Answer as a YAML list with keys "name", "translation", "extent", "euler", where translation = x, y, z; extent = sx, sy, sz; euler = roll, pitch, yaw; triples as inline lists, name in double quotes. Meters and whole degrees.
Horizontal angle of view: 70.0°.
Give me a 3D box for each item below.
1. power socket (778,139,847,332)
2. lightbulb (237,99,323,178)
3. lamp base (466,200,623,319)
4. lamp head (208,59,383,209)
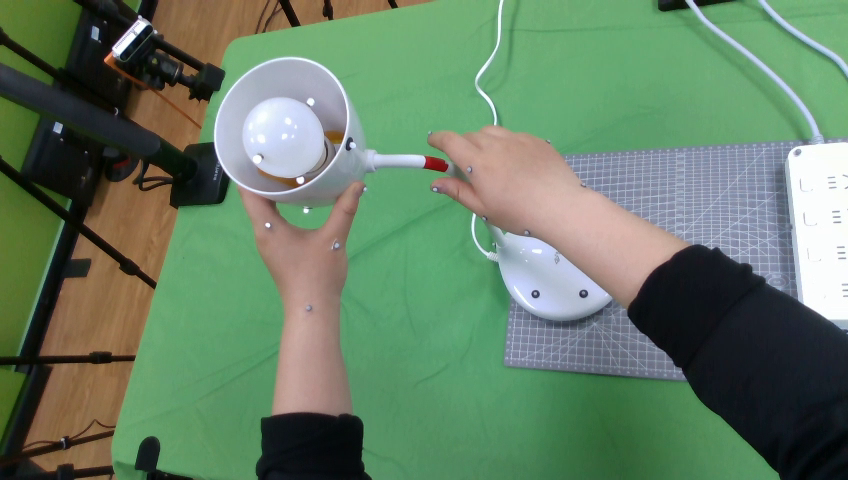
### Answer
- name: "power socket"
  translation: [0.442, -0.012, 0.670]
  extent: [0.072, 0.033, 0.225]
  euler: [-2, 68, 21]
- name: "lightbulb"
  translation: [-0.108, -0.075, 0.488]
  extent: [0.059, 0.108, 0.059]
  euler: [-1, 84, 10]
- name: "lamp base"
  translation: [0.130, -0.004, 0.712]
  extent: [0.178, 0.182, 0.159]
  euler: [-7, 66, 23]
- name: "lamp head"
  translation: [-0.097, -0.075, 0.511]
  extent: [0.112, 0.124, 0.112]
  euler: [-4, 77, 17]
